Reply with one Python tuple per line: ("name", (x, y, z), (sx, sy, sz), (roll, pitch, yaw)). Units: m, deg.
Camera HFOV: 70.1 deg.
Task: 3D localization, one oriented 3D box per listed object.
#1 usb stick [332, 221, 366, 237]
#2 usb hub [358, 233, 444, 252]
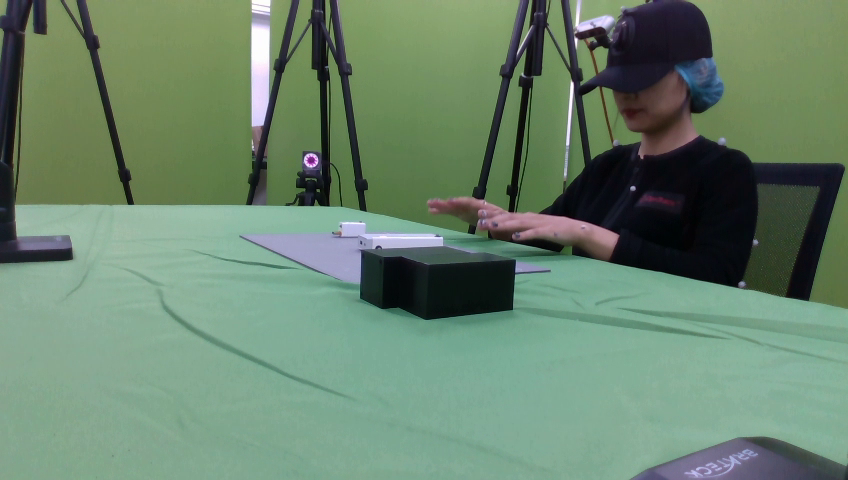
("usb stick", (-0.134, -0.020, 1.070), (0.059, 0.027, 0.021), (-4, 10, -26))
("usb hub", (-0.035, 0.003, 0.928), (0.126, 0.025, 0.049), (-1, 8, -23))
